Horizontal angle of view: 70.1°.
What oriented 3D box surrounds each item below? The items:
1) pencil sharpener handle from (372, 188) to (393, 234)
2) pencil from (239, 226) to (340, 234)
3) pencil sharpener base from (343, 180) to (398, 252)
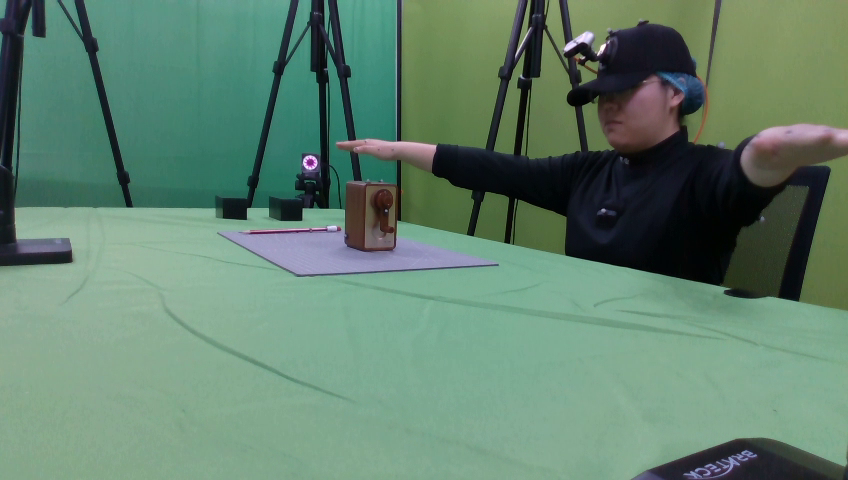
[{"bbox_3d":[-0.057,-0.044,0.912,0.036,0.067,0.030,-2,9,-33],"label":"pencil sharpener handle"},{"bbox_3d":[-0.245,-0.018,1.119,0.195,0.012,0.012,-3,9,-34],"label":"pencil"},{"bbox_3d":[-0.085,-0.038,0.956,0.062,0.107,0.076,-1,9,-33],"label":"pencil sharpener base"}]
